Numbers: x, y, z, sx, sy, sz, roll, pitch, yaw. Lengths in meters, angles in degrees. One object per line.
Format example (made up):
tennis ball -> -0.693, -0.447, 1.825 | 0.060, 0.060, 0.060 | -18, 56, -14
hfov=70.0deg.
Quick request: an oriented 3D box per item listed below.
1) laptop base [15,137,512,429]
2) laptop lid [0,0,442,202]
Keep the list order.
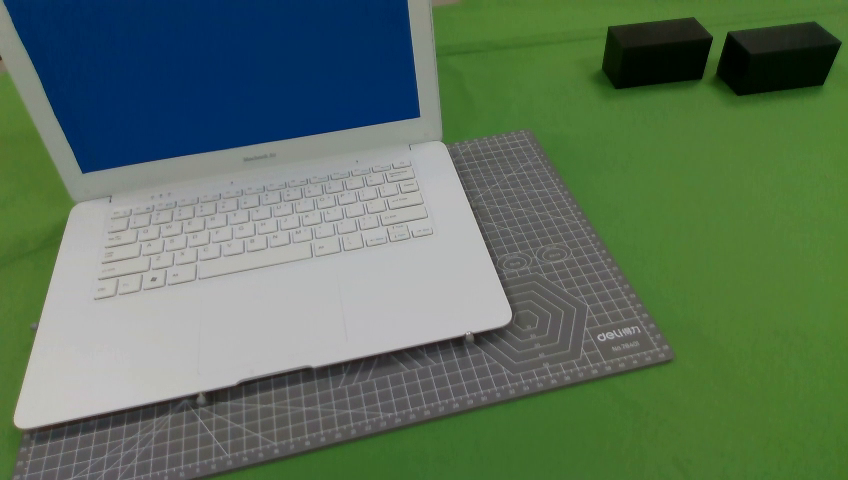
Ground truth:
laptop base -> -0.128, 0.017, 0.506 | 0.355, 0.023, 0.233 | -11, 49, -7
laptop lid -> -0.165, -0.160, 0.519 | 0.357, 0.244, 0.013 | -12, 36, -6
